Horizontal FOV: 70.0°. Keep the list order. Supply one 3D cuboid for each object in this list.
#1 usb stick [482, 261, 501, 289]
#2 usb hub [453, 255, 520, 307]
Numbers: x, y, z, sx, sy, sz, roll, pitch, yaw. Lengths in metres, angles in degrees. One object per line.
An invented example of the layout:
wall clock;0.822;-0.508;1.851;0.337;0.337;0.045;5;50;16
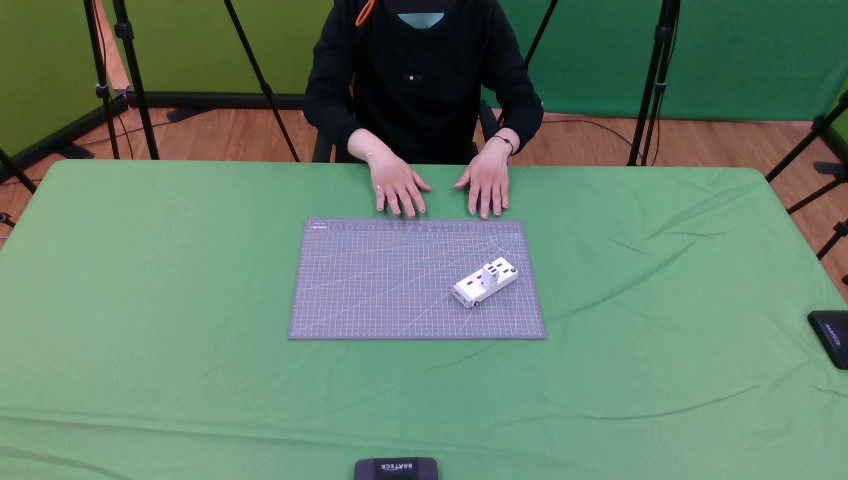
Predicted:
usb stick;0.120;0.067;1.090;0.021;0.059;0.027;-30;57;-28
usb hub;0.117;0.076;1.122;0.125;0.025;0.049;-28;55;-26
